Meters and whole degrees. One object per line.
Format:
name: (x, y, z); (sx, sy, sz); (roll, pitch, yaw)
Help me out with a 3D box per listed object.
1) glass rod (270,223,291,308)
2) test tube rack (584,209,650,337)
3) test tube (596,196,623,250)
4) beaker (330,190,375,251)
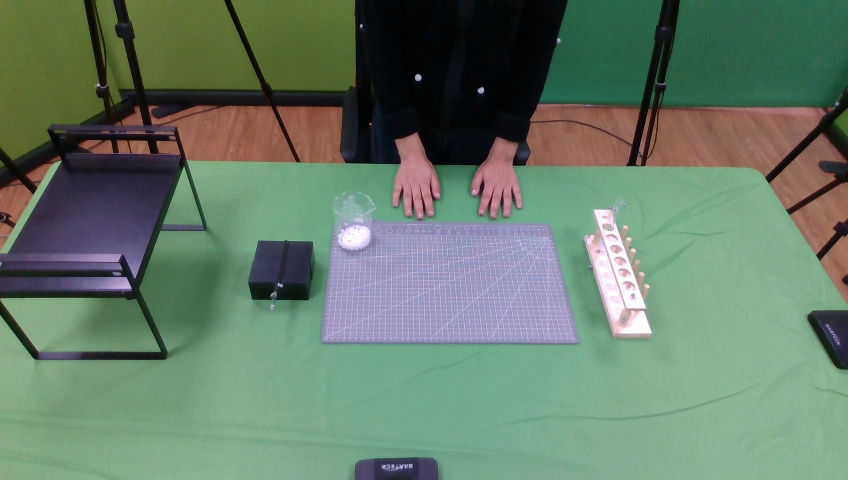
glass rod: (-0.255, 0.041, 1.082); (0.008, 0.008, 0.198); (2, 46, -2)
test tube rack: (0.365, 0.056, 1.129); (0.067, 0.085, 0.240); (1, 46, -4)
test tube: (0.348, -0.029, 1.140); (0.017, 0.151, 0.017); (0, 53, 0)
beaker: (-0.136, -0.034, 1.163); (0.084, 0.101, 0.073); (3, 46, -3)
